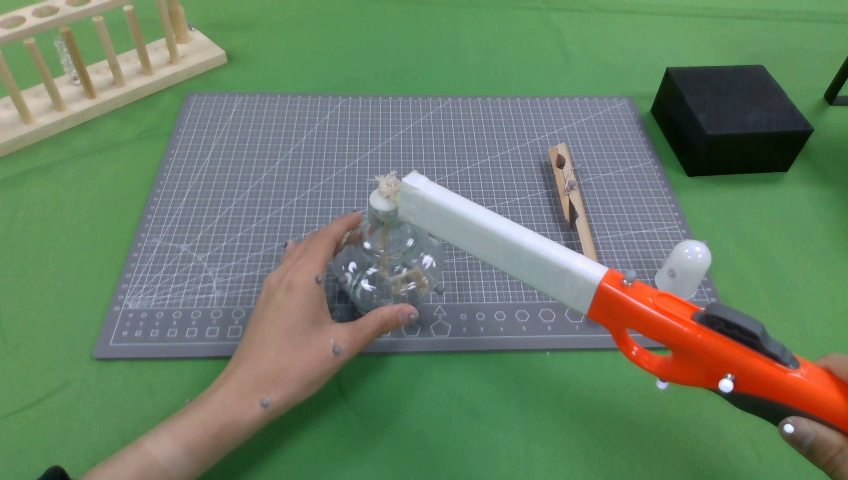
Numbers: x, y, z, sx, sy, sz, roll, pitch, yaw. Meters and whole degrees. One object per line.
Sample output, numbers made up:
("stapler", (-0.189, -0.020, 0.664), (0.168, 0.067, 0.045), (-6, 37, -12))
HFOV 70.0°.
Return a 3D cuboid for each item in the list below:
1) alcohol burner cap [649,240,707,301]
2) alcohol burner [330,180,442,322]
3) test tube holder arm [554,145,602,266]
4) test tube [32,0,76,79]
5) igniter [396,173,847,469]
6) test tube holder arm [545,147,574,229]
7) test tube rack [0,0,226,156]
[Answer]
("alcohol burner cap", (0.192, 0.020, 0.454), (0.034, 0.048, 0.033), (2, 48, -2))
("alcohol burner", (-0.026, 0.003, 0.409), (0.078, 0.120, 0.077), (1, 50, -1))
("test tube holder arm", (0.128, -0.014, 0.495), (0.013, 0.015, 0.176), (-26, 46, 22))
("test tube", (-0.335, -0.209, 0.532), (0.017, 0.151, 0.017), (3, 46, -3))
("igniter", (0.099, 0.035, 0.317), (0.274, 0.057, 0.025), (29, 45, 22))
("test tube holder arm", (0.120, -0.046, 0.526), (0.010, 0.015, 0.087), (-25, 46, 23))
("test tube rack", (-0.318, -0.172, 0.566), (0.242, 0.086, 0.066), (-34, 59, -28))
